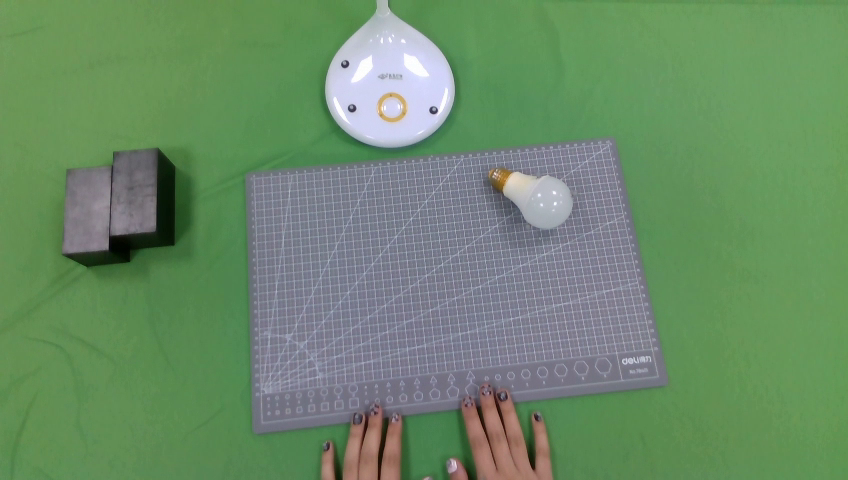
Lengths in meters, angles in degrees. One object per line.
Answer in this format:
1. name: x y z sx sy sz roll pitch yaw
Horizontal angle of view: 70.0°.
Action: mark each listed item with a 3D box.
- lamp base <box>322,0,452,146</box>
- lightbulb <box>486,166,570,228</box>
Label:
1. lamp base: -0.048 -0.224 0.679 0.161 0.181 0.178 -11 71 -4
2. lightbulb: 0.117 -0.055 0.699 0.107 0.060 0.059 32 74 24
